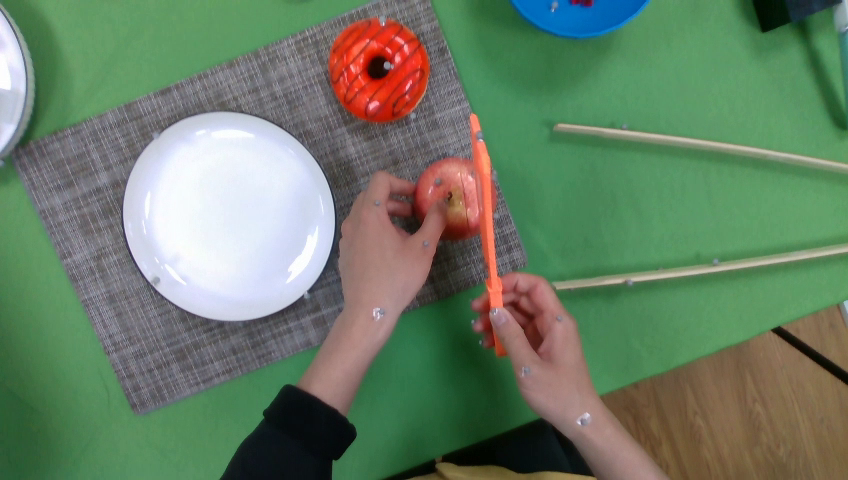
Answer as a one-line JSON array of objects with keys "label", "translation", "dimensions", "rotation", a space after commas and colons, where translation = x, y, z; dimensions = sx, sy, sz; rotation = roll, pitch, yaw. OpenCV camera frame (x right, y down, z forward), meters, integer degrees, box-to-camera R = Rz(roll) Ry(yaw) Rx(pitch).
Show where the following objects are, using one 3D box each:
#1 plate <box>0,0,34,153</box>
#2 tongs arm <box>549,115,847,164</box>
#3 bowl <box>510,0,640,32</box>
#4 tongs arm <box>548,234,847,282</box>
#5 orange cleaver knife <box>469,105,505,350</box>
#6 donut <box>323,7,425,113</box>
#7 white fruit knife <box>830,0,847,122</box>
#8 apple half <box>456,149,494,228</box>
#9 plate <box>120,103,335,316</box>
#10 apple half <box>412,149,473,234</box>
[{"label": "plate", "translation": [-0.478, -0.165, 0.586], "dimensions": [0.208, 0.039, 0.208], "rotation": [0, 98, 0]}, {"label": "tongs arm", "translation": [0.317, -0.089, 0.608], "dimensions": [0.388, 0.028, 0.028], "rotation": [9, 90, -2]}, {"label": "bowl", "translation": [0.133, -0.263, 0.556], "dimensions": [0.151, 0.076, 0.151], "rotation": [0, 99, 0]}, {"label": "tongs arm", "translation": [0.317, -0.002, 0.616], "dimensions": [0.385, 0.026, 0.051], "rotation": [-6, 94, 0]}, {"label": "orange cleaver knife", "translation": [0.052, -0.004, 0.504], "dimensions": [0.012, 0.076, 0.213], "rotation": [-8, 121, 2]}, {"label": "donut", "translation": [-0.047, -0.172, 0.581], "dimensions": [0.099, 0.048, 0.099], "rotation": [0, 99, 2]}, {"label": "white fruit knife", "translation": [0.391, -0.205, 0.566], "dimensions": [0.016, 0.027, 0.209], "rotation": [-23, 112, 3]}, {"label": "apple half", "translation": [0.051, -0.051, 0.582], "dimensions": [0.033, 0.081, 0.081], "rotation": [-8, 97, 7]}, {"label": "plate", "translation": [-0.191, -0.030, 0.603], "dimensions": [0.209, 0.038, 0.209], "rotation": [0, 98, 0]}, {"label": "apple half", "translation": [0.016, -0.045, 0.586], "dimensions": [0.053, 0.074, 0.081], "rotation": [-10, 100, 10]}]
